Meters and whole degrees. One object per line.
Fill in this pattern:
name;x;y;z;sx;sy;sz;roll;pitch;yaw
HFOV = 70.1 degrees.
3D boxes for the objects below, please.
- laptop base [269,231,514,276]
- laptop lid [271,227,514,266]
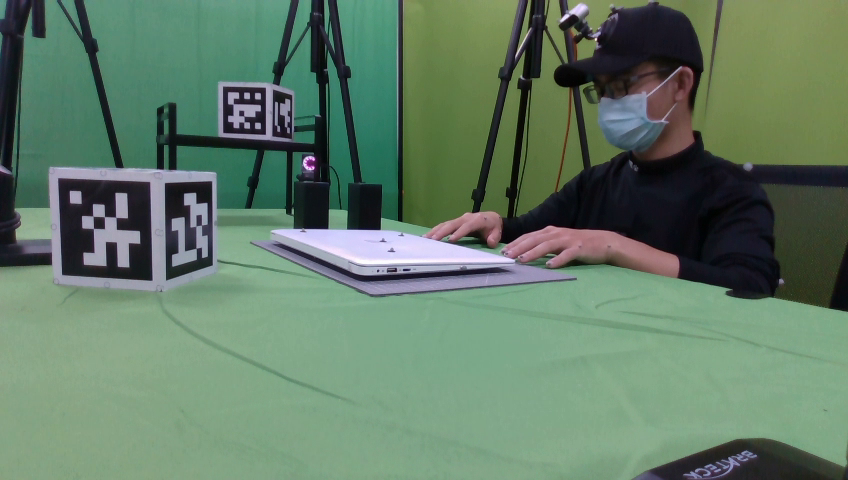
laptop base;-0.066;0.017;0.893;0.237;0.023;0.352;1;6;-32
laptop lid;-0.063;0.005;0.893;0.243;0.013;0.355;1;7;-30
